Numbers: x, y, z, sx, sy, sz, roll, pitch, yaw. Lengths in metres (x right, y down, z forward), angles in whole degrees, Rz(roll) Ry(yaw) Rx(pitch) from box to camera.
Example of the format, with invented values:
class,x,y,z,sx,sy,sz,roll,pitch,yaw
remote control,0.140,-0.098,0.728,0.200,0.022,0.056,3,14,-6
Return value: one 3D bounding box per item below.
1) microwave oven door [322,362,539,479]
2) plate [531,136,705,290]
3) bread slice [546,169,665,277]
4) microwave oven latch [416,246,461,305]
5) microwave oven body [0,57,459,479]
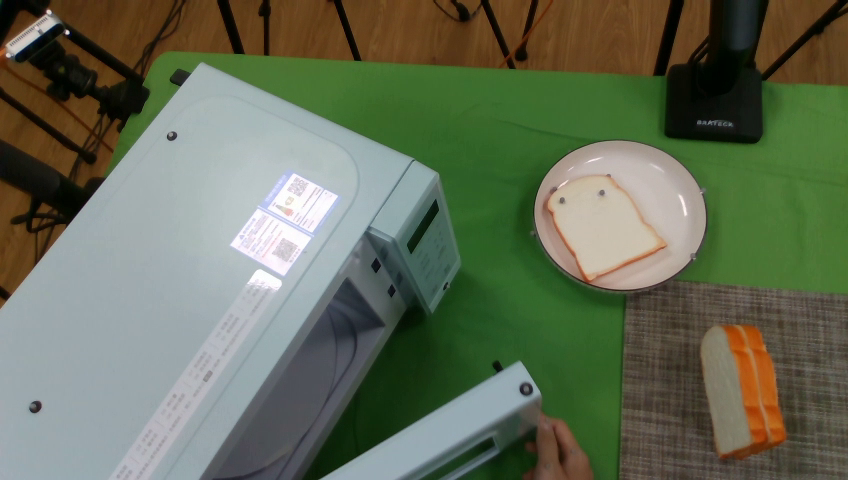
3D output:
class,x,y,z,sx,sy,sz,roll,pitch,yaw
microwave oven door,-0.051,0.234,0.567,0.356,0.246,0.039,-30,65,-4
plate,0.239,-0.033,0.762,0.207,0.039,0.206,-3,68,8
bread slice,0.216,-0.027,0.761,0.107,0.018,0.133,-27,65,-6
microwave oven latch,0.017,0.040,0.748,0.030,0.030,0.079,28,75,18
microwave oven body,-0.213,0.085,0.660,0.324,0.262,0.440,27,75,18
